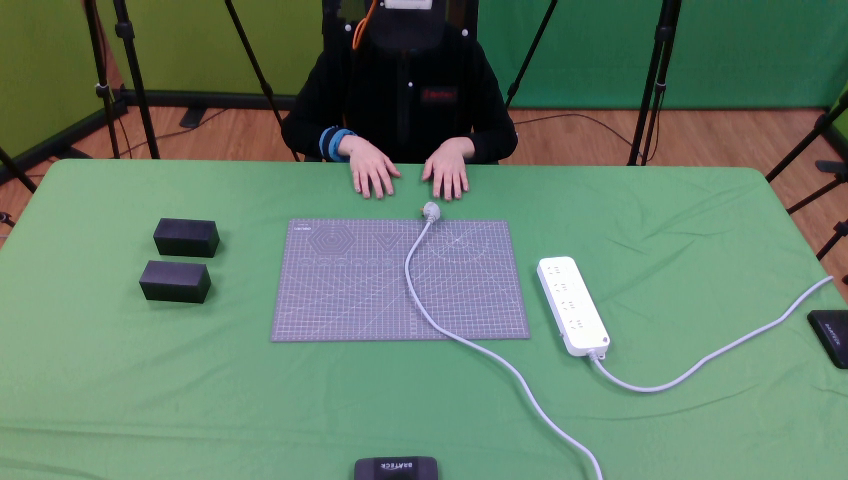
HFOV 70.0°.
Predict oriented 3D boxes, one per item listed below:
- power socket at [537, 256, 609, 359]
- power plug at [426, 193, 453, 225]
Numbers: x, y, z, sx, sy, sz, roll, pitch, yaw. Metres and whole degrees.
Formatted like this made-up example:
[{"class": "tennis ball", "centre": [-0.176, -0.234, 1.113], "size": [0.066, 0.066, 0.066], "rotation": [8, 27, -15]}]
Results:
[{"class": "power socket", "centre": [0.266, 0.115, 1.097], "size": [0.072, 0.033, 0.225], "rotation": [-5, 47, -8]}, {"class": "power plug", "centre": [0.032, -0.061, 1.229], "size": [0.035, 0.072, 0.052], "rotation": [-21, 92, -37]}]
